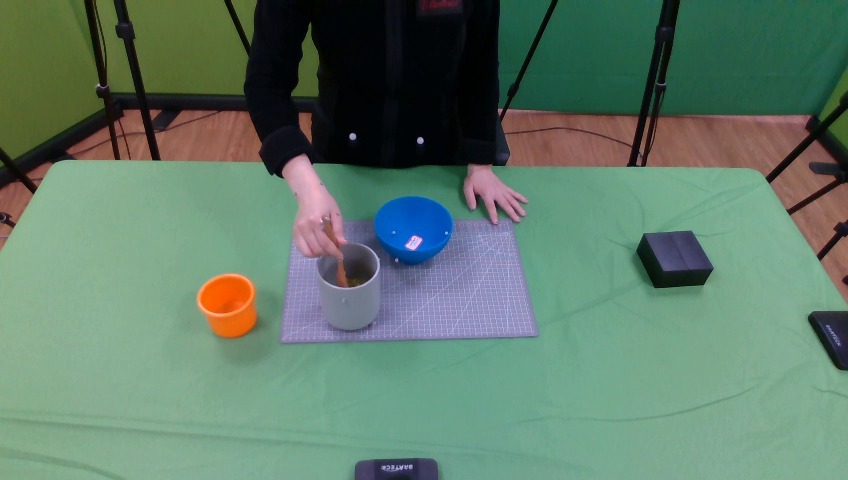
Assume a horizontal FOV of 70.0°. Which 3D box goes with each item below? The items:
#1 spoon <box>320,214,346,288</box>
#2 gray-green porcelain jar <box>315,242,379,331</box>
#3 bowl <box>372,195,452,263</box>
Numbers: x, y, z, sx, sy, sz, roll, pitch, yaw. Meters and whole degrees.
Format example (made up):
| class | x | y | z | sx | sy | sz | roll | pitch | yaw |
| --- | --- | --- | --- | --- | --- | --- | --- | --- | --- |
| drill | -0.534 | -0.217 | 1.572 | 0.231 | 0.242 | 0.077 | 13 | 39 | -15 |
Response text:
| class | x | y | z | sx | sy | sz | roll | pitch | yaw |
| --- | --- | --- | --- | --- | --- | --- | --- | --- | --- |
| spoon | -0.142 | 0.028 | 0.970 | 0.021 | 0.195 | 0.041 | -26 | 47 | -22 |
| gray-green porcelain jar | -0.129 | 0.084 | 1.030 | 0.106 | 0.127 | 0.105 | 2 | 46 | -2 |
| bowl | -0.023 | -0.008 | 1.161 | 0.151 | 0.077 | 0.150 | 2 | 46 | -2 |
